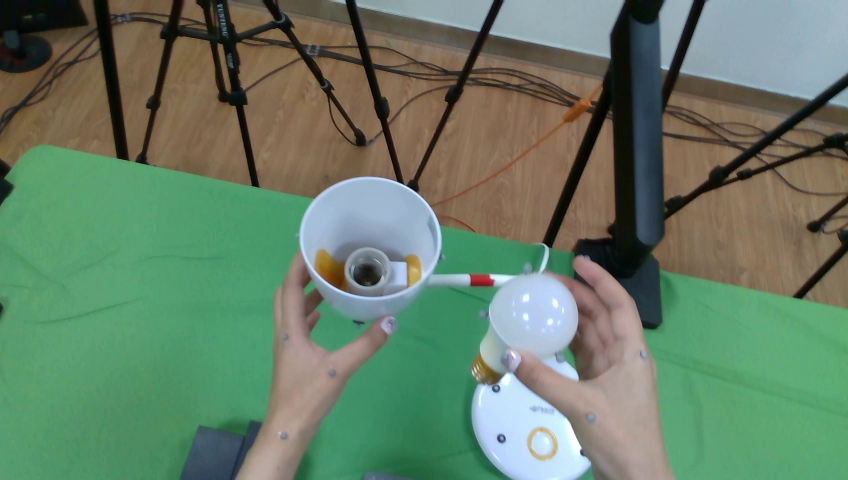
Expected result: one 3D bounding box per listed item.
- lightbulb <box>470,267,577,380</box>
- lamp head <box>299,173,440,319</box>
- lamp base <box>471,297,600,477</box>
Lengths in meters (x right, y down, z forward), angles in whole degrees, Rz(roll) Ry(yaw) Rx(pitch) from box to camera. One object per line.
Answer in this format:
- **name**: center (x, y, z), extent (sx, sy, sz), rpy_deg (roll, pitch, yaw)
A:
- **lightbulb**: center (0.064, 0.064, 0.431), extent (0.060, 0.108, 0.059), rpy_deg (20, 38, -16)
- **lamp head**: center (-0.043, 0.018, 0.525), extent (0.112, 0.124, 0.111), rpy_deg (1, 62, -1)
- **lamp base**: center (0.142, 0.155, 0.682), extent (0.161, 0.181, 0.177), rpy_deg (-1, 55, -8)
